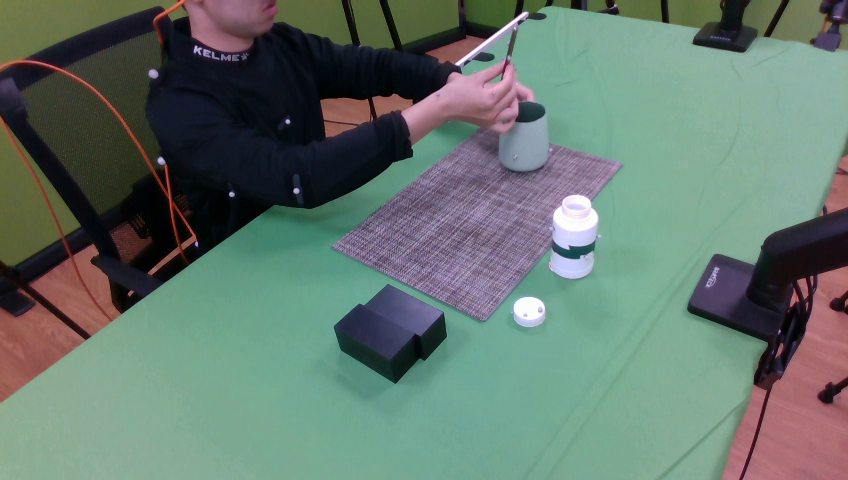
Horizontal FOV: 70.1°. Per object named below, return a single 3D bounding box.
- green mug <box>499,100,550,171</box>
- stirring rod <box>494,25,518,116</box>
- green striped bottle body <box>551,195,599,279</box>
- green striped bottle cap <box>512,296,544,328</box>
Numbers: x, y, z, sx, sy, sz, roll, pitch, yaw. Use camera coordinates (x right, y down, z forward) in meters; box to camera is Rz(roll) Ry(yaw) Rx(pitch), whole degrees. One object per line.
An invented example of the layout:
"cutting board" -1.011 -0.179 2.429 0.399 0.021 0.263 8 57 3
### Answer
"green mug" 0.183 -0.197 1.101 0.092 0.105 0.125 1 41 9
"stirring rod" 0.131 -0.268 0.973 0.006 0.176 0.014 25 56 12
"green striped bottle body" 0.216 -0.006 0.870 0.063 0.120 0.063 -4 41 4
"green striped bottle cap" 0.144 0.099 0.837 0.044 0.020 0.044 -1 43 2
